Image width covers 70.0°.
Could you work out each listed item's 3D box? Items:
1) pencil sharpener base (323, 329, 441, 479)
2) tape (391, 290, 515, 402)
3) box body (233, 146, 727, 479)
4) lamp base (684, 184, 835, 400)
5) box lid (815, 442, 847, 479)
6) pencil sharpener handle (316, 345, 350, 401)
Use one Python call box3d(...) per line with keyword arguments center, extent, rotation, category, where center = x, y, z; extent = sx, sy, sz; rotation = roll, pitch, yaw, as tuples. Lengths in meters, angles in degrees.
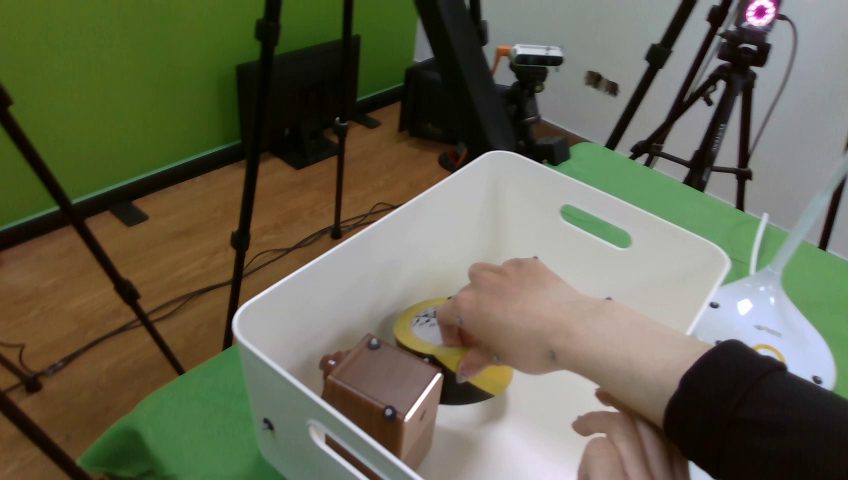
box3d(center=(-0.037, 0.135, 0.482), extent=(0.076, 0.108, 0.061), rotation=(23, 42, 20), category="pencil sharpener base")
box3d(center=(0.027, 0.095, 0.563), extent=(0.117, 0.053, 0.116), rotation=(-2, 24, 1), category="tape")
box3d(center=(0.060, 0.090, 0.522), extent=(0.252, 0.161, 0.364), rotation=(30, 43, 24), category="box body")
box3d(center=(0.375, 0.042, 0.628), extent=(0.160, 0.181, 0.178), rotation=(12, 36, 4), category="lamp base")
box3d(center=(0.433, 0.286, 0.472), extent=(0.372, 0.015, 0.260), rotation=(-21, 47, -33), category="box lid")
box3d(center=(-0.084, 0.108, 0.484), extent=(0.030, 0.068, 0.036), rotation=(23, 11, 20), category="pencil sharpener handle")
